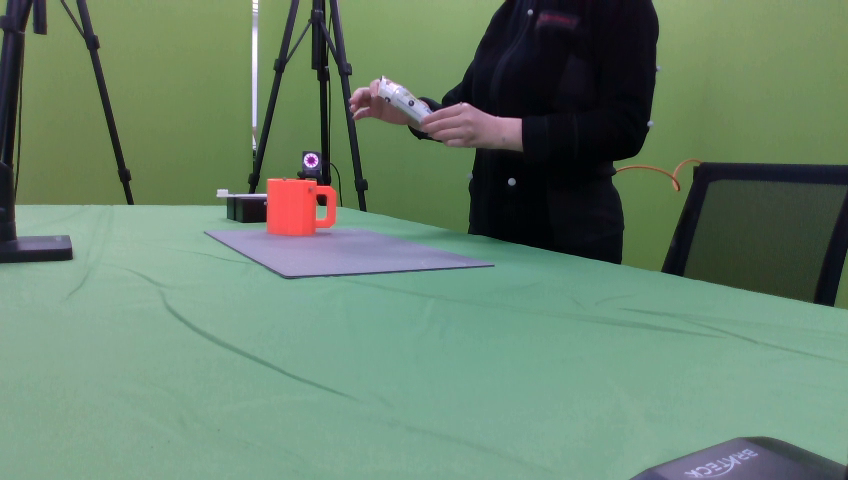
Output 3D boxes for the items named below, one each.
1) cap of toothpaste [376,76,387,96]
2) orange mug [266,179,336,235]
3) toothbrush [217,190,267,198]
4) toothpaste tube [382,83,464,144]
[{"bbox_3d":[-0.073,-0.266,1.045,0.011,0.037,0.037,13,4,-17],"label":"cap of toothpaste"},{"bbox_3d":[-0.222,-0.062,1.094,0.127,0.101,0.083,-5,10,-22],"label":"orange mug"},{"bbox_3d":[-0.344,-0.096,1.282,0.183,0.016,0.014,-1,5,-27],"label":"toothbrush"},{"bbox_3d":[-0.002,-0.218,1.045,0.165,0.034,0.055,34,28,0],"label":"toothpaste tube"}]
